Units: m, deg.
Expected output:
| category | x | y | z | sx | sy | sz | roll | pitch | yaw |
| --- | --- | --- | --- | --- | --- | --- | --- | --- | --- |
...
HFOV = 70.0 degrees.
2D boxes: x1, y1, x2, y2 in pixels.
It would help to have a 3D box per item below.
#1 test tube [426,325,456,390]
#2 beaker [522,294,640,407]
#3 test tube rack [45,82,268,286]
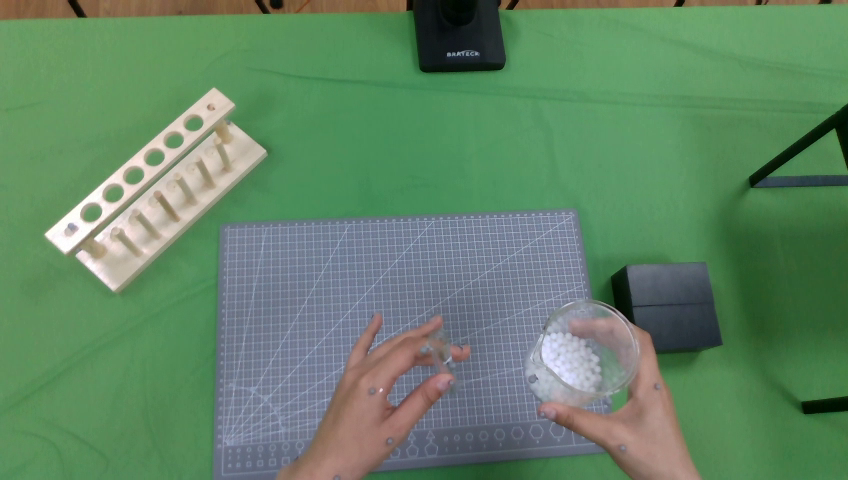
| category | x | y | z | sx | sy | sz | roll | pitch | yaw |
| --- | --- | --- | --- | --- | --- | --- | --- | --- | --- |
| test tube | 0.016 | 0.100 | 0.494 | 0.017 | 0.151 | 0.017 | -2 | 64 | 5 |
| beaker | 0.120 | 0.096 | 0.497 | 0.084 | 0.101 | 0.073 | -11 | 67 | -6 |
| test tube rack | -0.297 | -0.065 | 0.702 | 0.066 | 0.085 | 0.242 | 40 | 73 | 8 |
